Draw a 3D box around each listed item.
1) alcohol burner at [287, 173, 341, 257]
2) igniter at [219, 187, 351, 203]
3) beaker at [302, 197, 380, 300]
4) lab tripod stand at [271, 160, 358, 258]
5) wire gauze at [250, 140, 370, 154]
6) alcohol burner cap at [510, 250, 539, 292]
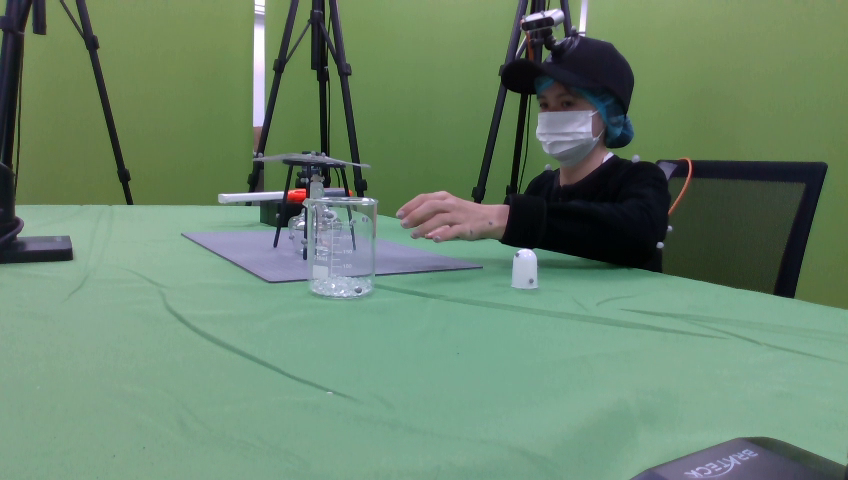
[{"bbox_3d":[-0.158,-0.037,0.868,0.078,0.119,0.078,1,6,0],"label":"alcohol burner"},{"bbox_3d":[-0.280,-0.092,1.254,0.278,0.025,0.057,-6,11,-34],"label":"igniter"},{"bbox_3d":[-0.089,0.007,0.625,0.084,0.100,0.074,4,7,16],"label":"beaker"},{"bbox_3d":[-0.160,-0.048,0.876,0.148,0.131,0.148,3,5,0],"label":"lab tripod stand"},{"bbox_3d":[-0.163,-0.131,0.867,0.124,0.011,0.122,-1,8,32],"label":"wire gauze"},{"bbox_3d":[0.118,0.036,0.704,0.034,0.048,0.034,0,6,0],"label":"alcohol burner cap"}]
